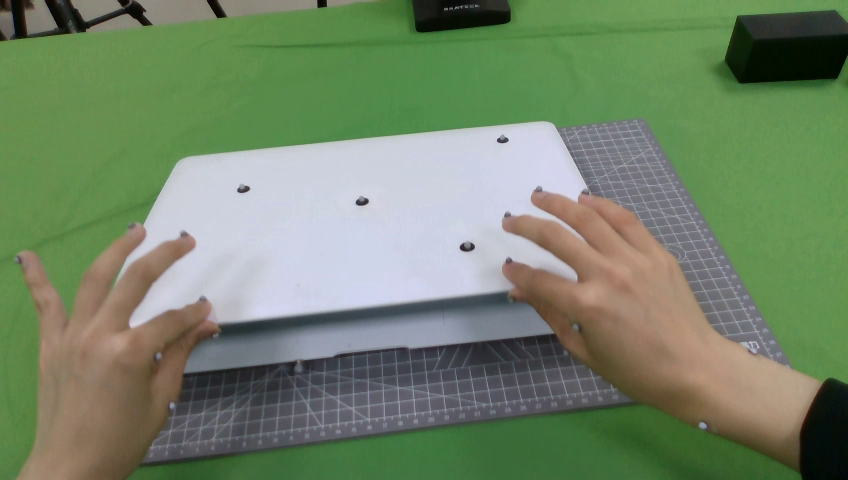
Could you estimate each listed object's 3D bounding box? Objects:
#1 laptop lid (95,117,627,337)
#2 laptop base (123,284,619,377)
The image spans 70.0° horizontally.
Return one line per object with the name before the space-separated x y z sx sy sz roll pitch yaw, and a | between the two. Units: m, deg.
laptop lid | -0.047 -0.027 0.478 0.357 0.013 0.239 -5 38 1
laptop base | -0.044 -0.004 0.501 0.354 0.023 0.233 -6 49 0
